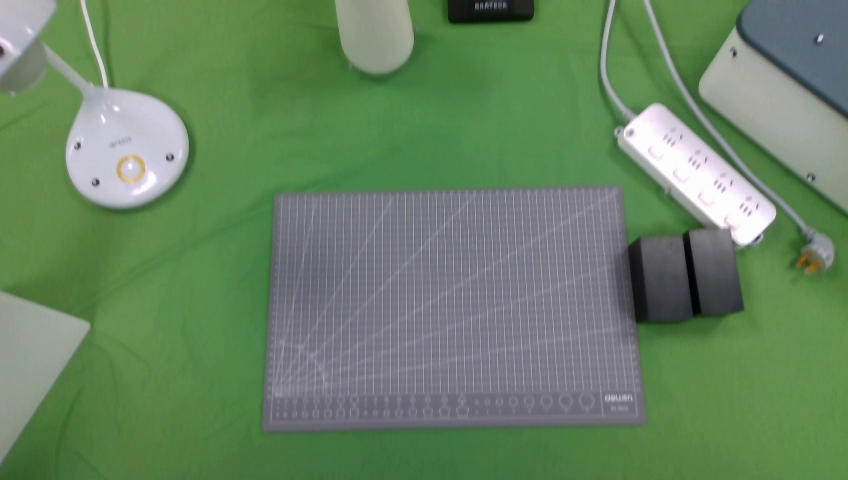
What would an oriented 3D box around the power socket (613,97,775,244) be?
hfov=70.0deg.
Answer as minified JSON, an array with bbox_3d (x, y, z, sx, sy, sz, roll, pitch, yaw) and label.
[{"bbox_3d":[0.341,-0.090,0.768,0.072,0.033,0.225,-41,78,-9],"label":"power socket"}]

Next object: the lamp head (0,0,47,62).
[{"bbox_3d":[-0.365,-0.186,0.445,0.112,0.124,0.111,-26,42,27],"label":"lamp head"}]

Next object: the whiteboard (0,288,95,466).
[{"bbox_3d":[-0.561,0.109,0.625,0.143,0.308,0.216,24,77,27],"label":"whiteboard"}]

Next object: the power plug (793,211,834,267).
[{"bbox_3d":[0.471,0.004,0.752,0.052,0.035,0.072,-30,38,-3],"label":"power plug"}]

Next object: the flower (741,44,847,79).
[{"bbox_3d":[0.600,-0.204,0.797,0.358,0.038,0.044,30,68,27],"label":"flower"}]

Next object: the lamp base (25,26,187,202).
[{"bbox_3d":[-0.401,-0.156,0.722,0.160,0.181,0.178,-32,75,-7],"label":"lamp base"}]

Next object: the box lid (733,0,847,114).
[{"bbox_3d":[0.552,-0.212,0.652,0.370,0.015,0.263,43,82,11],"label":"box lid"}]

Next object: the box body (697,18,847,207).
[{"bbox_3d":[0.553,-0.194,0.723,0.362,0.161,0.254,43,80,11],"label":"box body"}]

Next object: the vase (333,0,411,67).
[{"bbox_3d":[-0.067,-0.300,0.743,0.098,0.201,0.097,0,74,0],"label":"vase"}]
